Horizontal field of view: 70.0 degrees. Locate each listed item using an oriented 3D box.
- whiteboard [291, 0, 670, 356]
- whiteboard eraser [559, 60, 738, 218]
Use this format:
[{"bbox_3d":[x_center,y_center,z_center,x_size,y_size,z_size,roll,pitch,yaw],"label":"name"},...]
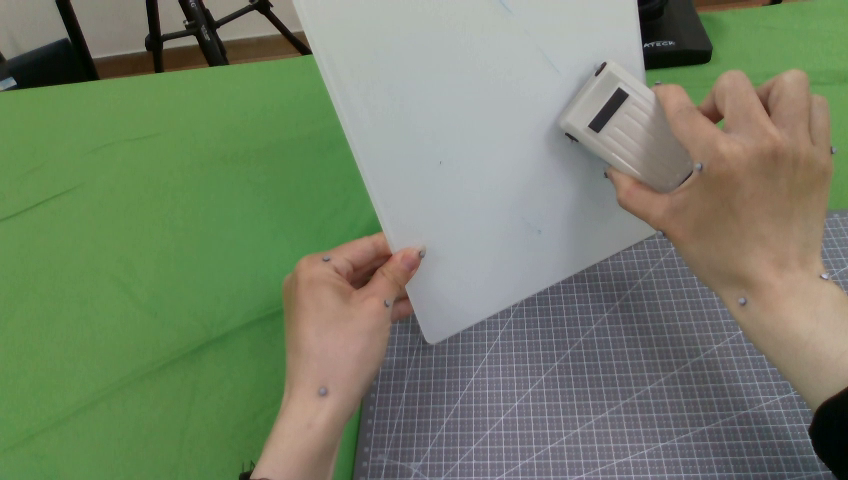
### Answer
[{"bbox_3d":[0.036,-0.110,0.458,0.217,0.308,0.142,-25,29,-9],"label":"whiteboard"},{"bbox_3d":[0.151,-0.068,0.414,0.113,0.056,0.041,35,20,-5],"label":"whiteboard eraser"}]
